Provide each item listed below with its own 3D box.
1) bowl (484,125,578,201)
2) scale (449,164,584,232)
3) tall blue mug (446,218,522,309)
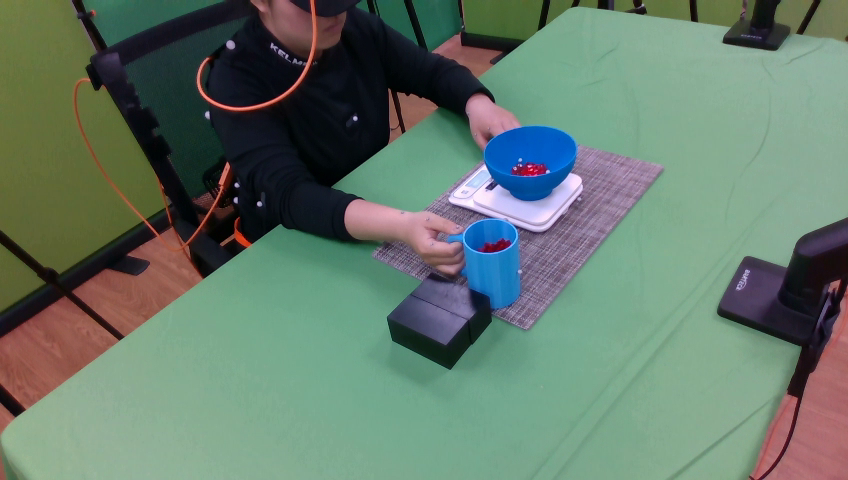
[{"bbox_3d":[0.176,-0.117,0.992,0.151,0.077,0.150,-6,40,5],"label":"bowl"},{"bbox_3d":[0.156,-0.085,1.040,0.199,0.032,0.149,22,49,32],"label":"scale"},{"bbox_3d":[0.082,0.034,0.852,0.107,0.108,0.077,-2,42,9],"label":"tall blue mug"}]
